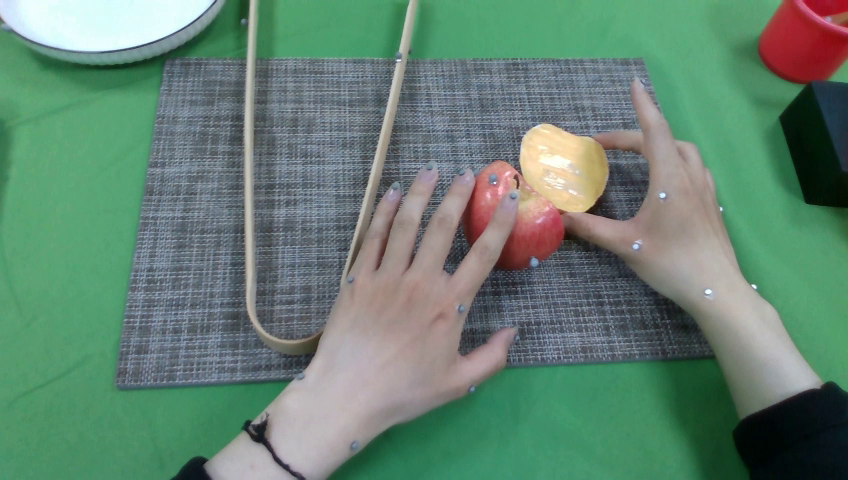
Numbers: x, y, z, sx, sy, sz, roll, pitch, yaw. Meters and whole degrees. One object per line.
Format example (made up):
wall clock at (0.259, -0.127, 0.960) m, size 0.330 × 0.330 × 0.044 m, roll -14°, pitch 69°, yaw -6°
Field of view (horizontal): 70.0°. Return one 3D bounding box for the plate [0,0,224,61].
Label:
plate at (-0.284, -0.240, 0.564) m, size 0.209 × 0.038 × 0.207 m, roll 2°, pitch 62°, yaw -4°

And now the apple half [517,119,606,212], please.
apple half at (0.108, -0.057, 0.502) m, size 0.081 × 0.033 × 0.081 m, roll 3°, pitch 76°, yaw -11°

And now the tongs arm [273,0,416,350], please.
tongs arm at (-0.054, -0.092, 0.507) m, size 0.051 × 0.027 × 0.381 m, roll 9°, pitch 62°, yaw -1°

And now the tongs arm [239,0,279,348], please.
tongs arm at (-0.138, -0.097, 0.503) m, size 0.028 × 0.028 × 0.384 m, roll -2°, pitch 62°, yaw -11°

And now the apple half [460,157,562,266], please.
apple half at (0.056, -0.013, 0.451) m, size 0.053 × 0.075 × 0.080 m, roll -38°, pitch 75°, yaw -18°

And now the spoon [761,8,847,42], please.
spoon at (0.419, -0.215, 0.556) m, size 0.022 × 0.192 × 0.041 m, roll 51°, pitch 53°, yaw -29°
